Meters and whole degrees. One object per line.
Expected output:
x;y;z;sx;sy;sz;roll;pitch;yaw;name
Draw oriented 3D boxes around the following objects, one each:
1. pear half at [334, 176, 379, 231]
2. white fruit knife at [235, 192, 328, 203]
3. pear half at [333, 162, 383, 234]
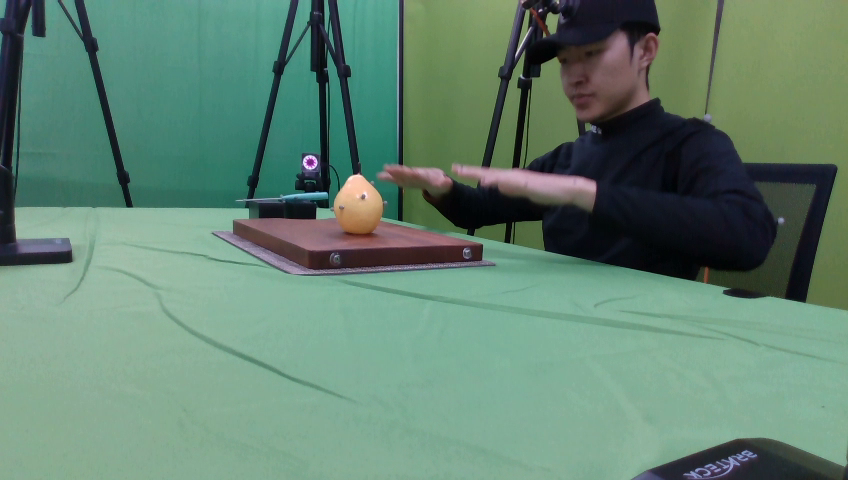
-0.109;-0.058;0.953;0.071;0.088;0.031;-8;12;-21;pear half
-0.297;-0.088;1.283;0.208;0.016;0.027;-7;-1;-32;white fruit knife
-0.098;-0.063;0.918;0.076;0.110;0.055;-5;10;-20;pear half
